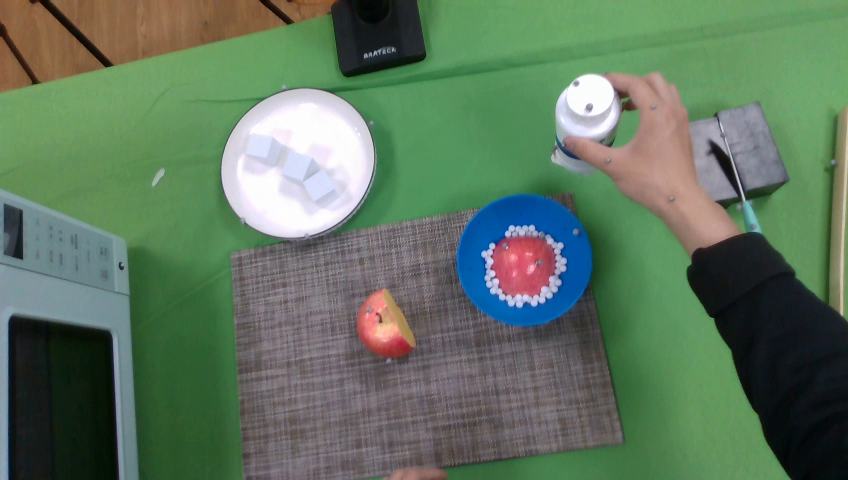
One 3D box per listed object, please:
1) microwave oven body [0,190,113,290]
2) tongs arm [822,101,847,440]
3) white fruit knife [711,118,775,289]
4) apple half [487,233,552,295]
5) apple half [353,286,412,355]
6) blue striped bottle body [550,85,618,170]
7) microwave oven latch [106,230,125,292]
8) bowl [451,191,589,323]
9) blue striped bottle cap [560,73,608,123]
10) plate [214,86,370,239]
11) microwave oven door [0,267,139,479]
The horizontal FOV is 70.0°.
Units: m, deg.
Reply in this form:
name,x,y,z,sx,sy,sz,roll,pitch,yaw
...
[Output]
name,x,y,z,sx,sy,sz,roll,pitch,yaw
microwave oven body,-0.536,0.205,0.661,0.326,0.261,0.439,-11,77,5
tongs arm,0.471,0.026,0.686,0.028,0.028,0.386,7,79,8
white fruit knife,0.357,-0.040,0.685,0.016,0.027,0.207,-19,92,21
apple half,0.110,0.025,0.700,0.081,0.033,0.081,-2,76,10
apple half,-0.054,0.101,0.714,0.053,0.075,0.080,-30,78,5
blue striped bottle body,0.164,-0.122,0.627,0.063,0.121,0.062,-2,75,9
microwave oven latch,-0.407,0.029,0.783,0.030,0.029,0.078,-11,77,5
bowl,0.110,0.026,0.705,0.151,0.077,0.150,-2,77,9
blue striped bottle cap,0.153,-0.136,0.578,0.044,0.021,0.044,-3,78,13
plate,-0.171,-0.099,0.798,0.207,0.039,0.206,-2,77,7
microwave oven door,-0.387,0.215,0.633,0.039,0.245,0.353,-12,76,5
